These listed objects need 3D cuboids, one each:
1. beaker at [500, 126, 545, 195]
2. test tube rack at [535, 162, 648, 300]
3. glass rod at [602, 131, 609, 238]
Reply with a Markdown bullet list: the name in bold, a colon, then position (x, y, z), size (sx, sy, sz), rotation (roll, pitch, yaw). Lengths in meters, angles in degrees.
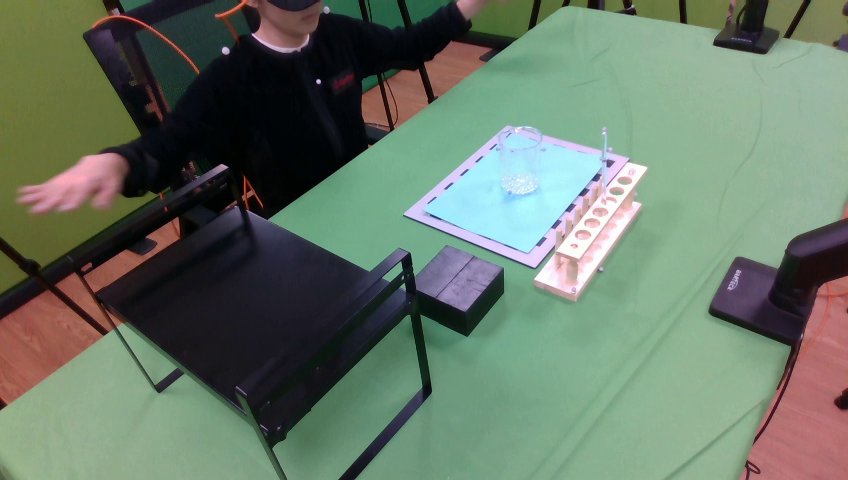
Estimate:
- **beaker**: position (0.169, -0.137, 1.045), size (0.074, 0.101, 0.083), rotation (-8, 40, 0)
- **test tube rack**: position (0.257, -0.024, 0.916), size (0.066, 0.085, 0.243), rotation (22, 49, 30)
- **glass rod**: position (0.262, -0.074, 0.871), size (0.008, 0.201, 0.008), rotation (-9, 44, 9)
